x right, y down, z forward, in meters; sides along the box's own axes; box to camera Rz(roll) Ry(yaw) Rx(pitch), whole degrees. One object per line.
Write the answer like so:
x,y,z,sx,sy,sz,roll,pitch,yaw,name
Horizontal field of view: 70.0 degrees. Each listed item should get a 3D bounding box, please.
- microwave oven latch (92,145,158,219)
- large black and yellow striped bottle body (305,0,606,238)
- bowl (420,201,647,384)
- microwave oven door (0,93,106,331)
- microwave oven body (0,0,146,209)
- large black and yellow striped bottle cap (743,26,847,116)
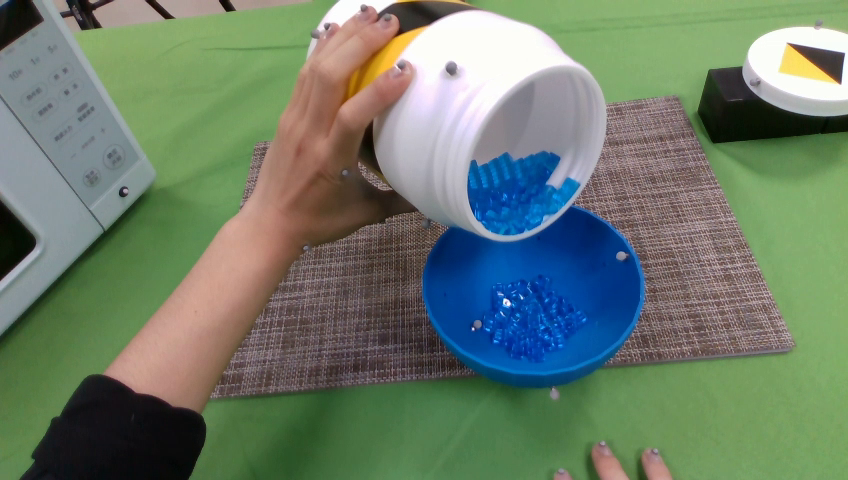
-0.295,-0.059,0.589,0.030,0.030,0.079,19,56,21,microwave oven latch
0.015,-0.090,0.403,0.131,0.132,0.182,-32,44,-17,large black and yellow striped bottle body
0.076,0.047,0.441,0.151,0.077,0.150,-4,50,5,bowl
-0.405,0.033,0.394,0.039,0.246,0.354,17,55,21,microwave oven door
-0.516,-0.033,0.472,0.324,0.263,0.439,17,56,20,microwave oven body
0.354,-0.155,0.549,0.115,0.019,0.114,-5,49,6,large black and yellow striped bottle cap
